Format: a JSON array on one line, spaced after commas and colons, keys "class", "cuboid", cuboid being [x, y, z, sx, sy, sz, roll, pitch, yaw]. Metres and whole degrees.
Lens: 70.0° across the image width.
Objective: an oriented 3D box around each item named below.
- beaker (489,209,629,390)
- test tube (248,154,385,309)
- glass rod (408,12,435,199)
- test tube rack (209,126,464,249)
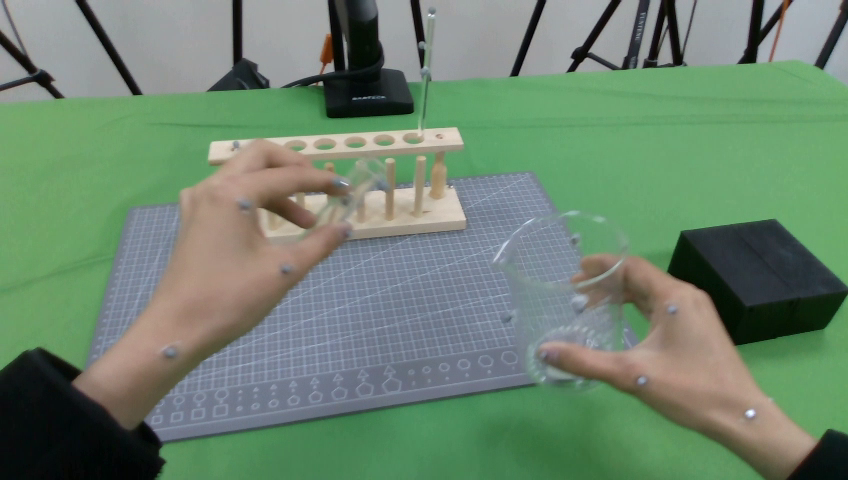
[{"class": "beaker", "cuboid": [0.090, 0.042, 0.394, 0.084, 0.101, 0.073, -7, 36, 9]}, {"class": "test tube", "cuboid": [-0.071, 0.000, 0.375, 0.017, 0.150, 0.017, 28, 38, -24]}, {"class": "glass rod", "cuboid": [-0.004, -0.120, 0.584, 0.008, 0.201, 0.008, 5, 41, -4]}, {"class": "test tube rack", "cuboid": [-0.082, -0.054, 0.607, 0.243, 0.086, 0.066, -5, 40, -9]}]
